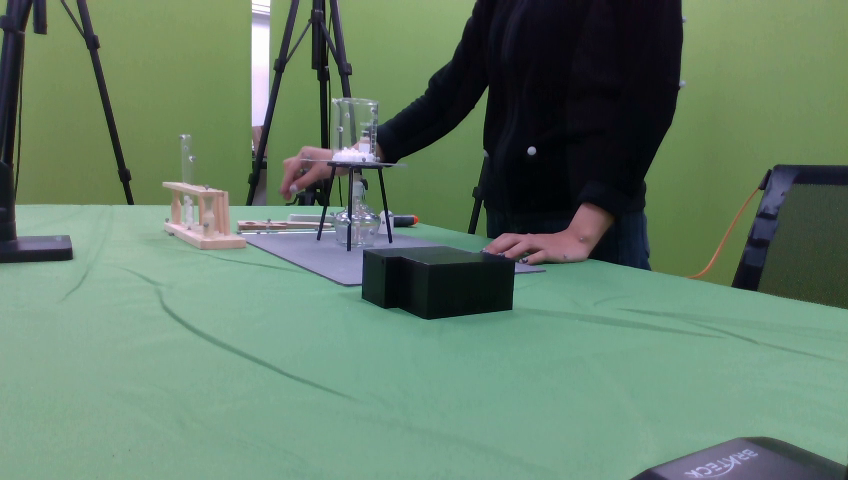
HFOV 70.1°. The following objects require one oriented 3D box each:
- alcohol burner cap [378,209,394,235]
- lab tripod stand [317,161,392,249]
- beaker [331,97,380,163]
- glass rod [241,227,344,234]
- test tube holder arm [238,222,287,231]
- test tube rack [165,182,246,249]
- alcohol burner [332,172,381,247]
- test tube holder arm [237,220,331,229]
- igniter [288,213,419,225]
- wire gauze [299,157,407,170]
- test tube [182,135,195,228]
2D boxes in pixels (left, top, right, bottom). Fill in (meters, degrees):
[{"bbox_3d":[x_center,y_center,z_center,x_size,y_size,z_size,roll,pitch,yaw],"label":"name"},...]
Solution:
[{"bbox_3d":[-0.072,-0.035,1.145,0.034,0.048,0.034,2,8,0],"label":"alcohol burner cap"},{"bbox_3d":[-0.111,-0.059,0.964,0.148,0.131,0.148,4,8,0],"label":"lab tripod stand"},{"bbox_3d":[-0.111,-0.171,0.950,0.073,0.100,0.084,12,12,42],"label":"beaker"},{"bbox_3d":[-0.239,-0.019,1.119,0.201,0.008,0.008,-3,8,-33],"label":"glass rod"},{"bbox_3d":[-0.296,-0.024,1.112,0.088,0.015,0.010,-1,40,-32],"label":"test tube holder arm"},{"bbox_3d":[-0.360,-0.045,0.982,0.067,0.085,0.241,-3,9,-34],"label":"test tube rack"},{"bbox_3d":[-0.107,-0.048,0.961,0.078,0.119,0.078,1,9,0],"label":"alcohol burner"},{"bbox_3d":[-0.260,-0.028,1.140,0.179,0.015,0.013,-1,40,-32],"label":"test tube holder arm"},{"bbox_3d":[-0.145,-0.044,1.278,0.278,0.025,0.057,-1,-2,-21],"label":"igniter"},{"bbox_3d":[-0.112,-0.124,0.959,0.121,0.011,0.126,13,11,40],"label":"wire gauze"},{"bbox_3d":[-0.382,-0.095,0.983,0.017,0.150,0.017,-1,2,0],"label":"test tube"}]
